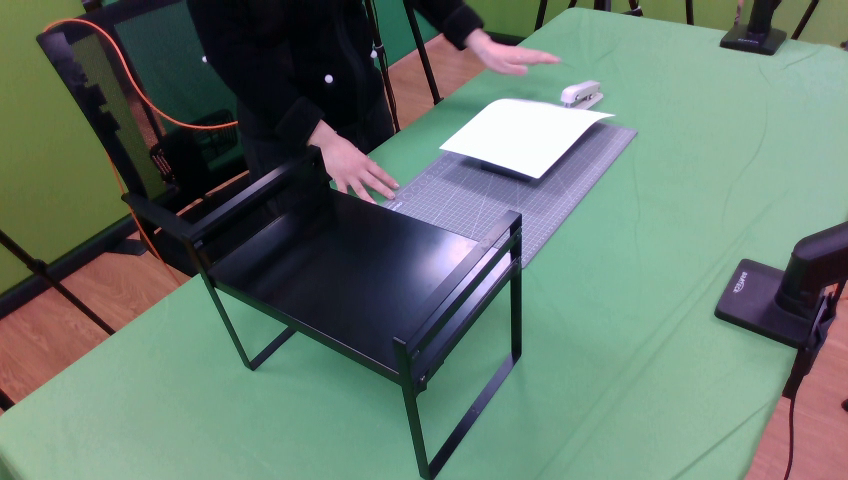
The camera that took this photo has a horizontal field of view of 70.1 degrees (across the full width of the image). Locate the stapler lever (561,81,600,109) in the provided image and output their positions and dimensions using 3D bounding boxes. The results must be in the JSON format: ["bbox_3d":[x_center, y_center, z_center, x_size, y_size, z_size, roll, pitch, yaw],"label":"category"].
[{"bbox_3d":[0.323,-0.307,1.246,0.026,0.040,0.118,28,50,34],"label":"stapler lever"}]

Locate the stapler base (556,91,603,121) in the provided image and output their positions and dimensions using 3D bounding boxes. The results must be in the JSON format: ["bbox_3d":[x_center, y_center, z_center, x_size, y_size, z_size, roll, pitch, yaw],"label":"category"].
[{"bbox_3d":[0.324,-0.287,1.261,0.041,0.024,0.131,28,49,33],"label":"stapler base"}]
